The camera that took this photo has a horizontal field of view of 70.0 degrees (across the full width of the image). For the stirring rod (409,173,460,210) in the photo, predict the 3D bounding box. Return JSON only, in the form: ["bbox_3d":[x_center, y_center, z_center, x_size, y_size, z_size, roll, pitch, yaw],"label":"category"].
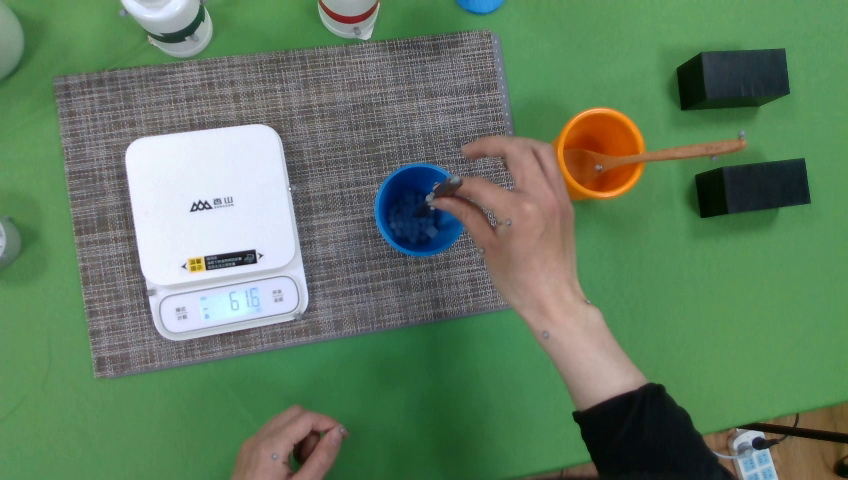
[{"bbox_3d":[0.005,-0.038,0.513,0.014,0.176,0.006,-4,86,-10],"label":"stirring rod"}]

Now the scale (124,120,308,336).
[{"bbox_3d":[-0.204,-0.013,0.599,0.149,0.031,0.200,-10,90,-8],"label":"scale"}]

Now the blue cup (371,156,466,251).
[{"bbox_3d":[-0.009,-0.031,0.591,0.093,0.100,0.092,0,88,-6],"label":"blue cup"}]

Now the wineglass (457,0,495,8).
[{"bbox_3d":[0.066,-0.289,0.578,0.074,0.172,0.073,0,87,-7],"label":"wineglass"}]

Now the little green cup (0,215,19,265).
[{"bbox_3d":[-0.418,-0.001,0.569,0.062,0.038,0.061,0,88,-9],"label":"little green cup"}]

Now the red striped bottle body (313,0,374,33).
[{"bbox_3d":[-0.077,-0.251,0.584,0.063,0.119,0.063,0,88,-8],"label":"red striped bottle body"}]

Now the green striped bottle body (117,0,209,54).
[{"bbox_3d":[-0.244,-0.222,0.559,0.063,0.119,0.063,0,87,-8],"label":"green striped bottle body"}]

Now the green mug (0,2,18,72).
[{"bbox_3d":[-0.440,-0.182,0.539,0.093,0.105,0.125,26,85,-6],"label":"green mug"}]

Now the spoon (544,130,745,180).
[{"bbox_3d":[0.212,-0.088,0.604,0.022,0.192,0.041,-10,96,-52],"label":"spoon"}]
